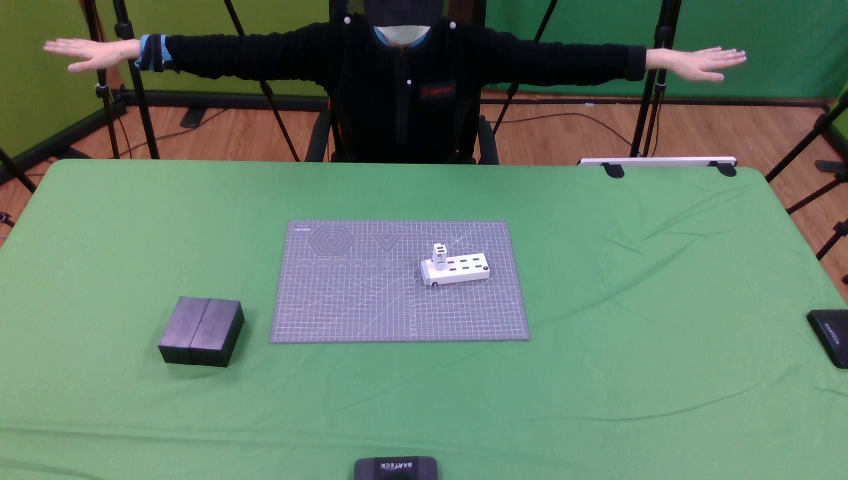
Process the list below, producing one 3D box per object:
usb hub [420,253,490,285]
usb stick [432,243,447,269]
[{"bbox_3d":[0.059,0.055,1.142,0.125,0.025,0.049,-7,47,-10],"label":"usb hub"},{"bbox_3d":[0.028,0.034,1.116,0.021,0.059,0.027,-8,50,-11],"label":"usb stick"}]
